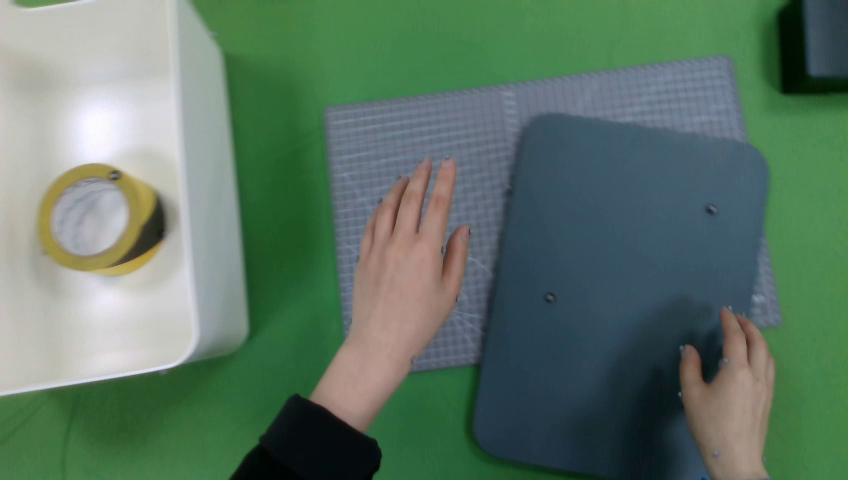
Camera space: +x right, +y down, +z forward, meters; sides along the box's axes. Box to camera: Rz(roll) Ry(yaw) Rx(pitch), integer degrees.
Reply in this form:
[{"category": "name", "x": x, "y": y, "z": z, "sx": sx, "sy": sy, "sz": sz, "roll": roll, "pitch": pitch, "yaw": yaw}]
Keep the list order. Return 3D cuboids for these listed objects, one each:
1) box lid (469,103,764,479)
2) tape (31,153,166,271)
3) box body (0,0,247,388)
[{"category": "box lid", "x": 0.202, "y": 0.047, "z": 0.628, "sx": 0.263, "sy": 0.015, "sz": 0.370, "roll": 10, "pitch": 83, "yaw": 2}, {"category": "tape", "x": -0.334, "y": -0.027, "z": 0.627, "sx": 0.117, "sy": 0.053, "sz": 0.116, "roll": 0, "pitch": 84, "yaw": 2}, {"category": "box body", "x": -0.327, "y": -0.053, "z": 0.581, "sx": 0.254, "sy": 0.161, "sz": 0.363, "roll": -9, "pitch": 83, "yaw": 0}]
